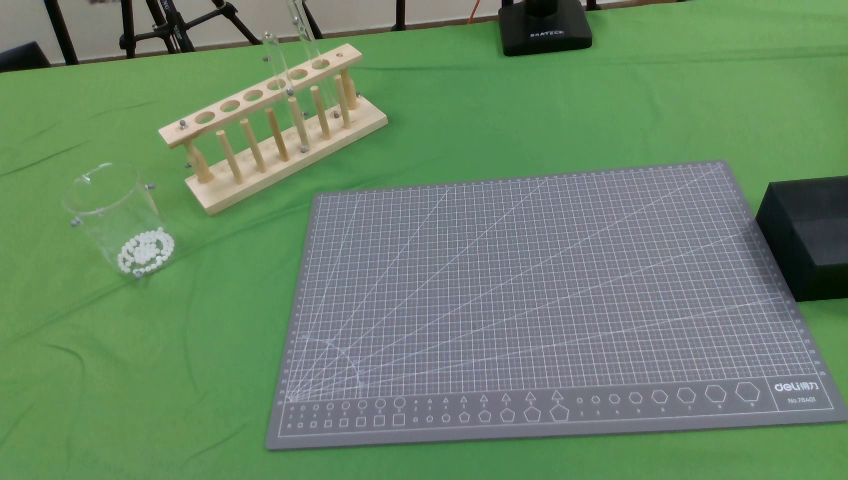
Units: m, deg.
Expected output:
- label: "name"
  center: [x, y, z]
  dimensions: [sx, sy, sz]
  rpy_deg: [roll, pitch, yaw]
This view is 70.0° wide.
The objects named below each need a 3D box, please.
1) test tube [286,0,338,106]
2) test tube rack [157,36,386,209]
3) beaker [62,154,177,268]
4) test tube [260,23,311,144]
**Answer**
- label: "test tube"
  center: [-0.128, -0.218, 0.701]
  dimensions: [0.017, 0.152, 0.017]
  rpy_deg: [-7, 49, 8]
- label: "test tube rack"
  center: [-0.168, -0.141, 0.705]
  dimensions: [0.242, 0.086, 0.066]
  rpy_deg: [-32, 52, -19]
- label: "beaker"
  center: [-0.305, -0.027, 0.615]
  dimensions: [0.083, 0.101, 0.074]
  rpy_deg: [28, 58, 30]
- label: "test tube"
  center: [-0.151, -0.168, 0.667]
  dimensions: [0.017, 0.152, 0.017]
  rpy_deg: [-5, 47, 5]
